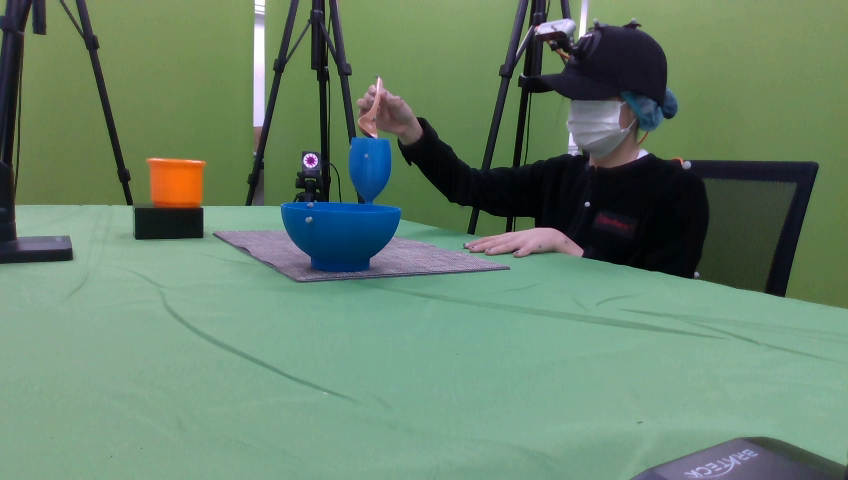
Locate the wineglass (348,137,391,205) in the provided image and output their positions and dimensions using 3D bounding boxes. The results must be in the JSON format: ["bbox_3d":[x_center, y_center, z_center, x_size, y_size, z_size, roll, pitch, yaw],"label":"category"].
[{"bbox_3d":[-0.092,-0.081,0.997,0.074,0.172,0.073,3,7,0],"label":"wineglass"}]

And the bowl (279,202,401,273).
[{"bbox_3d":[-0.105,-0.003,0.756,0.151,0.077,0.151,3,7,0],"label":"bowl"}]

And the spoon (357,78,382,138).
[{"bbox_3d":[-0.086,-0.231,1.043,0.042,0.021,0.193,34,39,-23],"label":"spoon"}]
